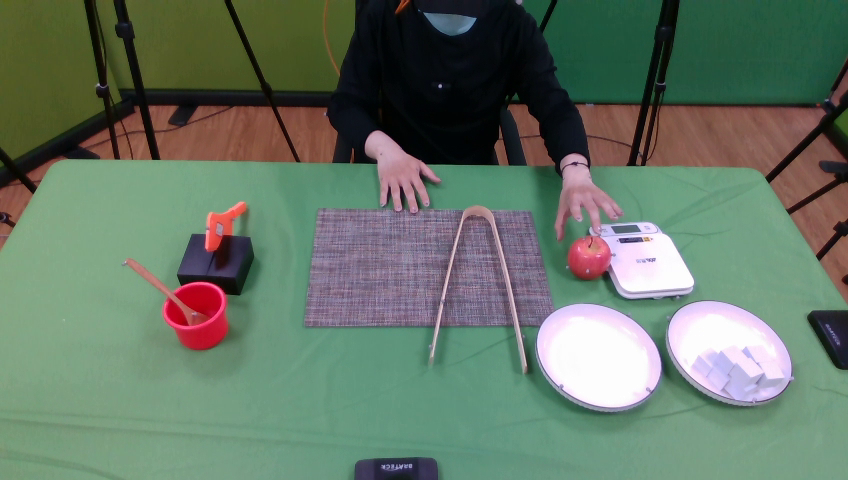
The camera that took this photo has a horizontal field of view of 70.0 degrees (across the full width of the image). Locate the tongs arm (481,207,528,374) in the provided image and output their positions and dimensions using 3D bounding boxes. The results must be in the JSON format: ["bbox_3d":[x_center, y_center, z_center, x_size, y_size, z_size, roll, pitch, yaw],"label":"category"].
[{"bbox_3d":[0.149,0.077,1.123,0.028,0.028,0.385,-5,46,-2],"label":"tongs arm"}]

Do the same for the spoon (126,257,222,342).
[{"bbox_3d":[-0.408,0.096,0.990,0.194,0.021,0.041,50,53,-18],"label":"spoon"}]

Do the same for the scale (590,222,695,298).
[{"bbox_3d":[0.424,0.031,1.189,0.149,0.032,0.199,-3,46,-7],"label":"scale"}]

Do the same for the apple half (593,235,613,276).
[{"bbox_3d":[0.340,0.029,1.155,0.033,0.082,0.080,-10,47,-8],"label":"apple half"}]

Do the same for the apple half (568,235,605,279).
[{"bbox_3d":[0.302,0.035,1.148,0.053,0.075,0.080,-9,51,-9],"label":"apple half"}]

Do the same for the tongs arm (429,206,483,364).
[{"bbox_3d":[0.065,0.069,1.124,0.051,0.026,0.382,8,45,5],"label":"tongs arm"}]

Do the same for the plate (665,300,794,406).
[{"bbox_3d":[0.513,0.194,1.034,0.208,0.039,0.206,2,46,-2],"label":"plate"}]

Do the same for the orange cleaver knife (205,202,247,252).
[{"bbox_3d":[-0.374,-0.029,1.150,0.012,0.077,0.211,4,13,0],"label":"orange cleaver knife"}]

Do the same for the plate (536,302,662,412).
[{"bbox_3d":[0.288,0.197,1.016,0.209,0.038,0.208,2,46,-2],"label":"plate"}]
